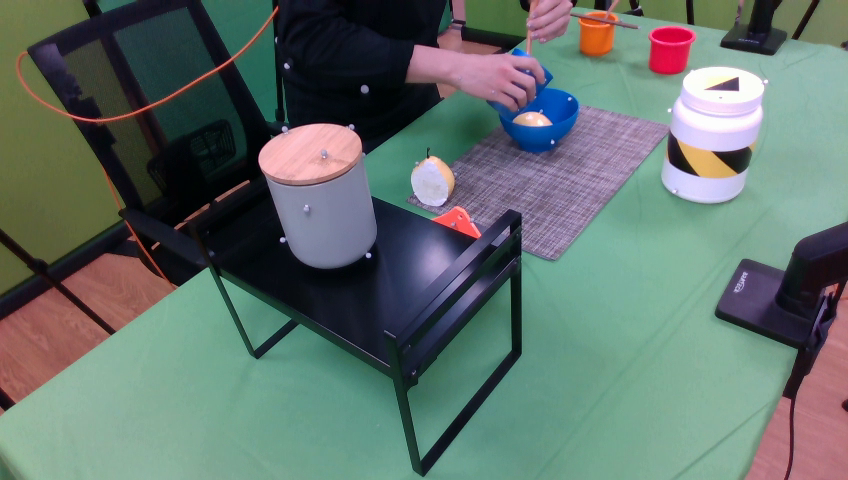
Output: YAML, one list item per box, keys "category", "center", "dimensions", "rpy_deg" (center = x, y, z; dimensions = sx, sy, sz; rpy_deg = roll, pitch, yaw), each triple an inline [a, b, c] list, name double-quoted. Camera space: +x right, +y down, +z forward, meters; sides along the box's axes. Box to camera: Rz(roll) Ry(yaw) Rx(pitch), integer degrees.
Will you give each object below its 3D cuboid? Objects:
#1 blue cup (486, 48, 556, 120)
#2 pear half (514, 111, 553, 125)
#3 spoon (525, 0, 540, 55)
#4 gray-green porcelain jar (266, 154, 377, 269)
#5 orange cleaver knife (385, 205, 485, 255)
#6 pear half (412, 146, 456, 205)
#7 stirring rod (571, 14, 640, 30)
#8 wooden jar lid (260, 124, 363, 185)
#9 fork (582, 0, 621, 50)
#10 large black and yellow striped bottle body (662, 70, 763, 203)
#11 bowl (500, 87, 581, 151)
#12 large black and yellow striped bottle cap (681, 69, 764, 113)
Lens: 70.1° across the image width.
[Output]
- category: "blue cup"
  center: [0.161, -0.267, 1.055]
  dimensions: [0.100, 0.093, 0.092]
  rpy_deg: [-53, 46, 9]
- category: "pear half"
  center: [0.214, -0.226, 1.148]
  dimensions: [0.088, 0.031, 0.070]
  rpy_deg: [12, 49, 14]
- category: "spoon"
  center: [0.182, -0.341, 1.038]
  dimensions: [0.042, 0.194, 0.021]
  rpy_deg: [2, 18, -6]
- category: "gray-green porcelain jar"
  center: [-0.112, -0.039, 0.685]
  dimensions: [0.106, 0.127, 0.105]
  rpy_deg: [-4, 40, 4]
- category: "orange cleaver knife"
  center: [0.012, -0.010, 0.942]
  dimensions: [0.012, 0.077, 0.210]
  rpy_deg: [-36, 19, -35]
- category: "pear half"
  center: [0.019, -0.120, 1.042]
  dimensions: [0.076, 0.110, 0.056]
  rpy_deg: [11, 43, 17]
- category: "stirring rod"
  center: [0.419, -0.508, 1.404]
  dimensions: [0.174, 0.006, 0.014]
  rpy_deg: [28, 55, 35]
- category: "wooden jar lid"
  center: [-0.119, -0.088, 0.645]
  dimensions: [0.108, 0.021, 0.108]
  rpy_deg: [-4, 40, 4]
- category: "fork"
  center: [0.446, -0.539, 1.438]
  dimensions: [0.207, 0.019, 0.028]
  rpy_deg: [-57, 36, 12]
- category: "large black and yellow striped bottle body"
  center: [0.464, -0.166, 0.976]
  dimensions: [0.131, 0.185, 0.130]
  rpy_deg: [-5, 41, 5]
- category: "bowl"
  center: [0.220, -0.223, 1.156]
  dimensions: [0.151, 0.077, 0.150]
  rpy_deg: [-4, 40, 4]
- category: "large black and yellow striped bottle cap"
  center: [0.453, -0.229, 0.921]
  dimensions: [0.115, 0.019, 0.114]
  rpy_deg: [-4, 39, 4]
